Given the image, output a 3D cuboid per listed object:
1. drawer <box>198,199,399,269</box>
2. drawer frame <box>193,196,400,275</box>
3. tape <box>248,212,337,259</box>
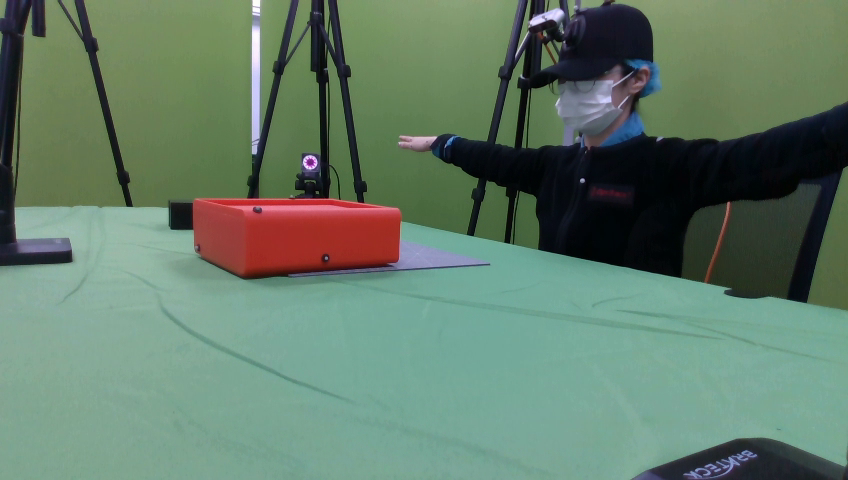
[{"bbox_3d":[-0.171,-0.014,0.818,0.213,0.073,0.193,-4,10,-36],"label":"drawer"},{"bbox_3d":[-0.173,-0.014,0.815,0.215,0.082,0.200,-4,10,-37],"label":"drawer frame"},{"bbox_3d":[-0.176,-0.008,0.814,0.117,0.052,0.117,3,6,0],"label":"tape"}]
